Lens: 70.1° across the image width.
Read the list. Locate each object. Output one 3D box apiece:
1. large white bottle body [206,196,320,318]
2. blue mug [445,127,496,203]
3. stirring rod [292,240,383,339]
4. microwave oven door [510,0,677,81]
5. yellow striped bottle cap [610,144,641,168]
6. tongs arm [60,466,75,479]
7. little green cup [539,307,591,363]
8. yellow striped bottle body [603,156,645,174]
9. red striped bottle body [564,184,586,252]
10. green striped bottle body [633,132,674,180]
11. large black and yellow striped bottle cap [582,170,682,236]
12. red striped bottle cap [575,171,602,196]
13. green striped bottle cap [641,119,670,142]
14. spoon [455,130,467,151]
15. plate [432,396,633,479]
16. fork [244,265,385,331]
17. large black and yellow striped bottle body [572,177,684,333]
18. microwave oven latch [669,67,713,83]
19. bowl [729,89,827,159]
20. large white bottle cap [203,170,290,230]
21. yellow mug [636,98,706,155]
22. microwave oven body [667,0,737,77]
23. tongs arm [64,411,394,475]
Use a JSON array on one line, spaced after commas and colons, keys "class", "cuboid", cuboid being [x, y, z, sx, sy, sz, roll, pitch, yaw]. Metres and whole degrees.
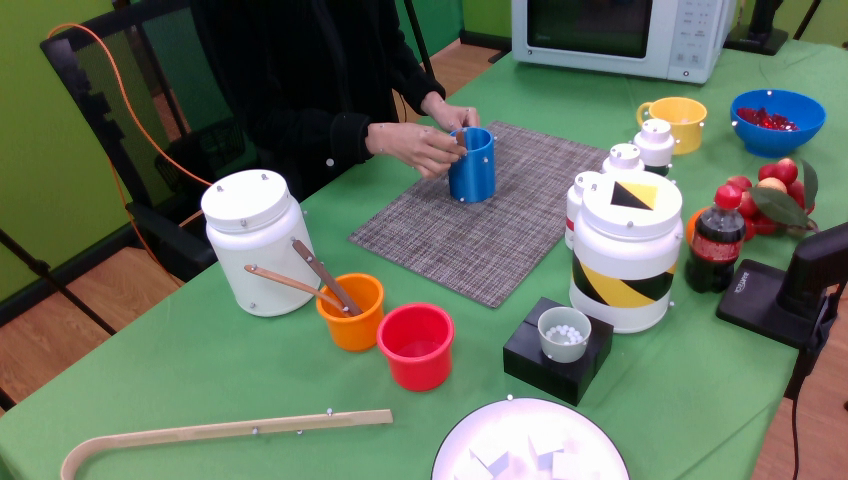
[{"class": "large white bottle body", "cuboid": [-0.233, 0.008, 0.876, 0.130, 0.185, 0.130, -4, 40, 4]}, {"class": "blue mug", "cuboid": [0.082, -0.140, 1.059, 0.082, 0.106, 0.116, -4, 40, 4]}, {"class": "stirring rod", "cuboid": [-0.118, 0.068, 0.826, 0.176, 0.006, 0.014, 49, 59, -4]}, {"class": "microwave oven door", "cuboid": [0.354, -0.478, 1.290, 0.353, 0.245, 0.039, 15, 45, 25]}, {"class": "yellow striped bottle cap", "cuboid": [0.307, -0.128, 0.923, 0.044, 0.019, 0.044, -5, 39, 5]}, {"class": "tongs arm", "cuboid": [-0.239, 0.301, 0.649, 0.386, 0.028, 0.028, 6, 49, 17]}, {"class": "little green cup", "cuboid": [0.167, 0.114, 0.721, 0.061, 0.039, 0.061, -4, 43, 4]}, {"class": "yellow striped bottle body", "cuboid": [0.313, -0.089, 0.956, 0.063, 0.121, 0.062, -4, 40, 4]}, {"class": "red striped bottle body", "cuboid": [0.247, -0.041, 0.910, 0.063, 0.120, 0.062, -3, 39, 3]}, {"class": "green striped bottle body", "cuboid": [0.376, -0.134, 1.001, 0.063, 0.120, 0.063, -5, 40, 4]}, {"class": "large black and yellow striped bottle cap", "cuboid": [0.252, -0.048, 0.735, 0.115, 0.019, 0.114, -3, 40, 3]}, {"class": "red striped bottle cap", "cuboid": [0.242, -0.081, 0.876, 0.044, 0.018, 0.044, -5, 44, 5]}, {"class": "green striped bottle cap", "cuboid": [0.371, -0.175, 0.968, 0.044, 0.020, 0.044, -6, 41, 6]}, {"class": "spoon", "cuboid": [0.067, -0.144, 0.998, 0.041, 0.194, 0.021, -6, 74, 9]}, {"class": "plate", "cuboid": [0.112, 0.261, 0.634, 0.209, 0.038, 0.208, -5, 40, 4]}, {"class": "fork", "cuboid": [-0.142, 0.078, 0.806, 0.209, 0.018, 0.028, 30, 33, -23]}, {"class": "large black and yellow striped bottle body", "cuboid": [0.262, 0.017, 0.788, 0.131, 0.185, 0.130, -5, 40, 4]}, {"class": "microwave oven latch", "cuboid": [0.556, -0.348, 1.262, 0.078, 0.029, 0.030, 16, 46, 27]}, {"class": "bowl", "cuboid": [0.615, -0.197, 1.069, 0.151, 0.077, 0.150, -5, 40, 5]}, {"class": "large white bottle cap", "cuboid": [-0.241, -0.057, 0.822, 0.115, 0.018, 0.114, -4, 41, 4]}, {"class": "yellow mug", "cuboid": [0.453, -0.217, 1.128, 0.100, 0.064, 0.129, -34, 46, -27]}, {"class": "microwave oven body", "cuboid": [0.462, -0.552, 1.369, 0.439, 0.261, 0.326, 15, 45, 26]}, {"class": "tongs arm", "cuboid": [-0.228, 0.240, 0.715, 0.385, 0.026, 0.050, -4, 43, 5]}]
